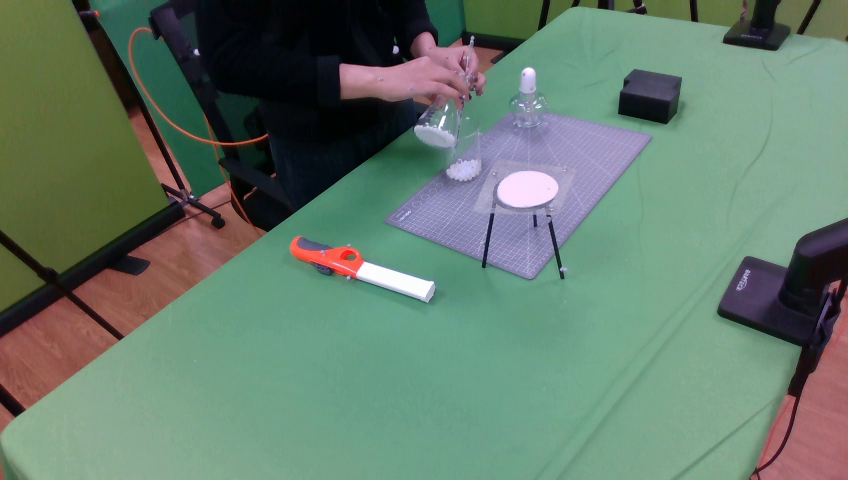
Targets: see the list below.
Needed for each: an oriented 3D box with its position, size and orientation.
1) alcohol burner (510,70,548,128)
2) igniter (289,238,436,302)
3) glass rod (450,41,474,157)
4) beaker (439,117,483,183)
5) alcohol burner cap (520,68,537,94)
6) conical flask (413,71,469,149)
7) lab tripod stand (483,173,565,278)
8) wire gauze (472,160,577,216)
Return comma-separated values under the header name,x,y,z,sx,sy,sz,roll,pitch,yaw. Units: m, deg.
name,x,y,z,sx,sy,sz,roll,pitch,yaw
alcohol burner,0.209,-0.287,1.208,0.078,0.119,0.077,-5,42,5
igniter,-0.106,0.043,0.949,0.274,0.025,0.057,16,56,27
glass rod,0.065,-0.244,1.053,0.008,0.199,0.008,10,11,-1
beaker,0.068,-0.160,1.097,0.073,0.101,0.084,7,43,19
alcohol burner cap,0.205,-0.313,1.183,0.034,0.048,0.033,-3,50,4
conical flask,0.035,-0.218,0.998,0.075,0.076,0.121,14,74,25
lab tripod stand,0.151,-0.025,0.896,0.148,0.132,0.147,-7,40,6
wire gauze,0.143,-0.073,0.850,0.121,0.011,0.125,8,43,22
